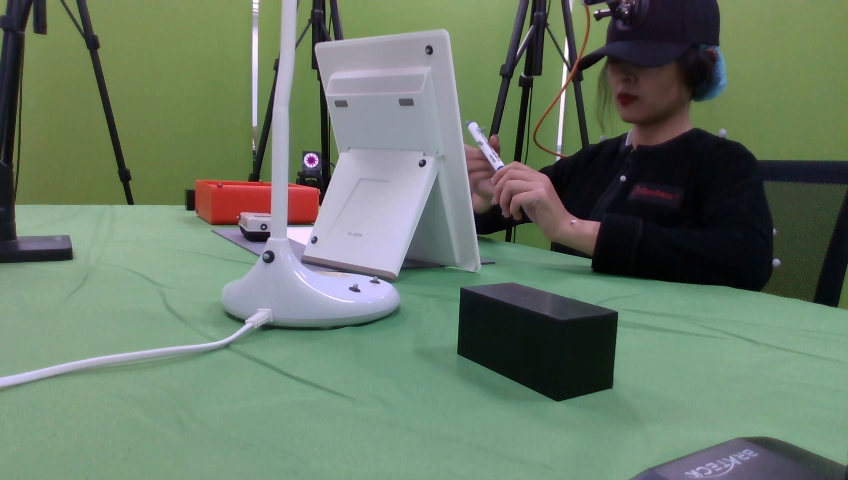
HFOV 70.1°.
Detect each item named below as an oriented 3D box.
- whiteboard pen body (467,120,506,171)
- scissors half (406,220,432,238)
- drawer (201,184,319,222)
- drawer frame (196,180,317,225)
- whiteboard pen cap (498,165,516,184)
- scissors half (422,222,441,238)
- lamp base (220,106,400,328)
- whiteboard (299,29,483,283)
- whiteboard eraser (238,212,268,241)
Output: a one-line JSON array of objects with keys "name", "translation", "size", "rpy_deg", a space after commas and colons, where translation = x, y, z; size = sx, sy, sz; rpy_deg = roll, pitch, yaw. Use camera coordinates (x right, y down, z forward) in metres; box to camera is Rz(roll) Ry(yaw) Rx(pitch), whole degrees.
[{"name": "whiteboard pen body", "translation": [0.100, -0.138, 0.928], "size": [0.017, 0.017, 0.140], "rpy_deg": [-2, 47, -31]}, {"name": "scissors half", "translation": [-0.006, -0.022, 1.215], "size": [0.040, 0.013, 0.174], "rpy_deg": [6, 10, -15]}, {"name": "drawer", "translation": [-0.353, -0.082, 1.296], "size": [0.213, 0.073, 0.193], "rpy_deg": [-2, 9, -28]}, {"name": "drawer frame", "translation": [-0.359, -0.083, 1.292], "size": [0.215, 0.082, 0.200], "rpy_deg": [-2, 10, -30]}, {"name": "whiteboard pen cap", "translation": [0.121, -0.097, 0.891], "size": [0.018, 0.018, 0.033], "rpy_deg": [-1, 37, -22]}, {"name": "scissors half", "translation": [0.013, -0.018, 1.217], "size": [0.040, 0.013, 0.175], "rpy_deg": [14, 9, 1]}, {"name": "lamp base", "translation": [-0.101, -0.023, 0.531], "size": [0.160, 0.180, 0.179], "rpy_deg": [4, 10, 10]}, {"name": "whiteboard", "translation": [-0.074, -0.082, 0.742], "size": [0.216, 0.305, 0.144], "rpy_deg": [9, 29, 38]}, {"name": "whiteboard eraser", "translation": [-0.272, -0.023, 0.998], "size": [0.056, 0.042, 0.112], "rpy_deg": [-2, 9, -24]}]
